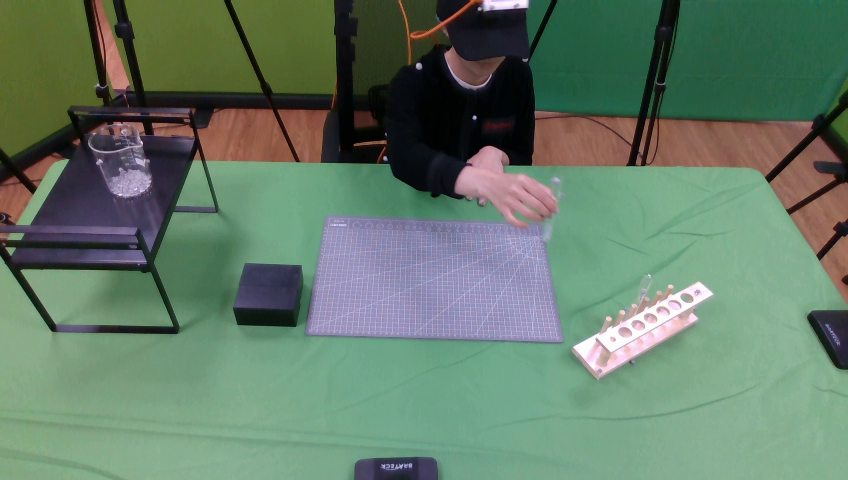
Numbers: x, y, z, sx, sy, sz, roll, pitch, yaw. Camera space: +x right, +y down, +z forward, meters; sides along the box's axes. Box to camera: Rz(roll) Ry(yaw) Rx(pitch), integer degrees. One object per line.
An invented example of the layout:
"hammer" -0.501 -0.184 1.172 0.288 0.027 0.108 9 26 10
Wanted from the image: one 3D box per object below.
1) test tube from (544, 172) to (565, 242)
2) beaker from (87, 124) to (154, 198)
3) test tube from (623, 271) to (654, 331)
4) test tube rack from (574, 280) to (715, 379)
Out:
"test tube" 0.213 -0.050 0.991 0.017 0.151 0.017 -1 47 1
"beaker" -0.482 -0.124 0.978 0.084 0.101 0.073 9 46 4
"test tube" 0.356 0.104 1.010 0.017 0.151 0.017 1 46 -1
"test tube rack" 0.378 0.140 1.038 0.242 0.085 0.066 -22 51 -23
